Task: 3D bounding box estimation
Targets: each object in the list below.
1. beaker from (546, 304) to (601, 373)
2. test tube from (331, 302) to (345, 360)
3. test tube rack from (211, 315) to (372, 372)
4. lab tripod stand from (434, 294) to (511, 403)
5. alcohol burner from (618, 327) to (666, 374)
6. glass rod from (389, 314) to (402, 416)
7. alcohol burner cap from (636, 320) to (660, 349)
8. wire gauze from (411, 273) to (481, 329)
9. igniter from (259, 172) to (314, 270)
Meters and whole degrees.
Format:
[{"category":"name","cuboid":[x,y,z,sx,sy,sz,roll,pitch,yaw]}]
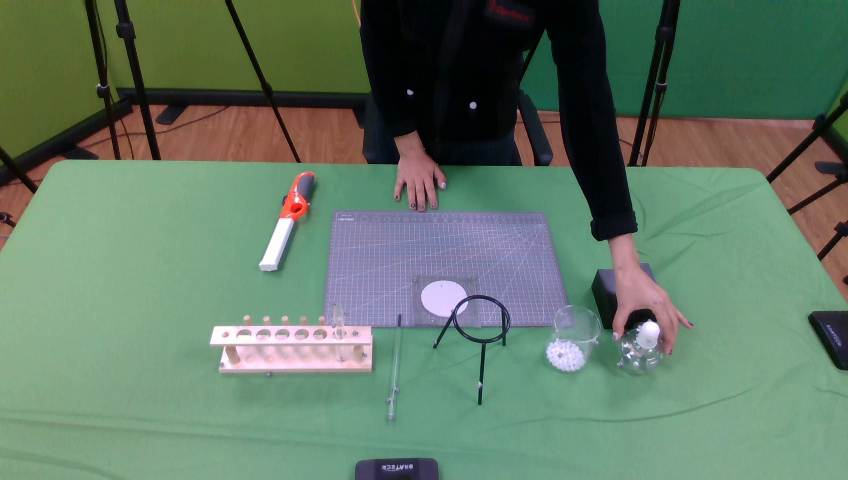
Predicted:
[{"category":"beaker","cuboid":[0.242,0.167,1.001,0.084,0.101,0.073,-32,55,-28]},{"category":"test tube","cuboid":[-0.132,0.144,0.938,0.017,0.151,0.017,2,49,-3]},{"category":"test tube rack","cuboid":[-0.208,0.164,0.982,0.242,0.085,0.066,1,46,-4]},{"category":"lab tripod stand","cuboid":[0.087,0.164,0.969,0.148,0.132,0.147,3,47,-3]},{"category":"alcohol burner","cuboid":[0.360,0.170,0.992,0.078,0.120,0.077,-1,53,2]},{"category":"glass rod","cuboid":[-0.048,0.202,1.007,0.008,0.008,0.198,4,45,0]},{"category":"alcohol burner cap","cuboid":[0.357,0.147,0.963,0.034,0.048,0.033,-4,50,5]},{"category":"wire gauze","cuboid":[0.038,0.108,1.104,0.125,0.011,0.120,2,47,-3]},{"category":"igniter","cuboid":[-0.273,-0.046,1.220,0.057,0.025,0.275,0,45,11]}]
